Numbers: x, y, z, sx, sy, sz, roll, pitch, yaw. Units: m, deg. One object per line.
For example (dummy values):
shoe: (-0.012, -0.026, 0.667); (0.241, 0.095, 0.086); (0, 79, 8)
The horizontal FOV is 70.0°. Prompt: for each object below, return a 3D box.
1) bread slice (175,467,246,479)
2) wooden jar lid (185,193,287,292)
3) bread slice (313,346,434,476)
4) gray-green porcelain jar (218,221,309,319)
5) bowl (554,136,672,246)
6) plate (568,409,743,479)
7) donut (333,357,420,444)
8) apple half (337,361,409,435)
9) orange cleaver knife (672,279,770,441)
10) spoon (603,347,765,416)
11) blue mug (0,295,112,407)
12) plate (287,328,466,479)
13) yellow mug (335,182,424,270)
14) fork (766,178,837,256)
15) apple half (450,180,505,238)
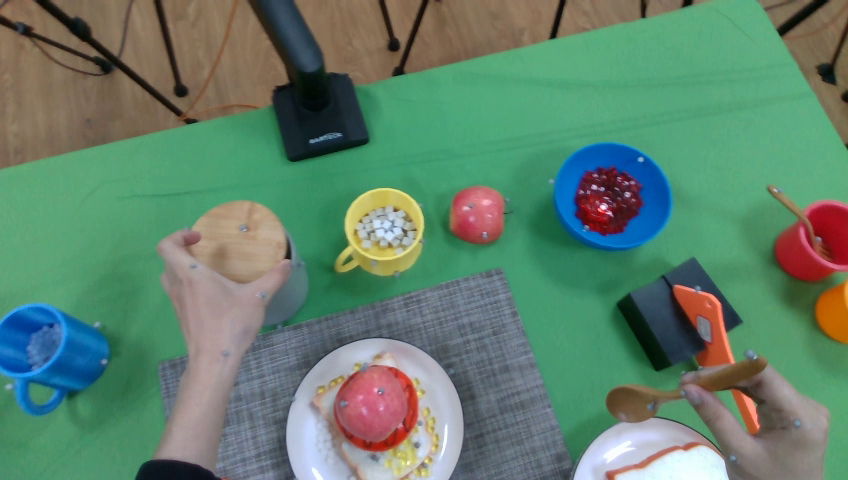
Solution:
bread slice: (-0.246, 0.325, 0.679); (0.105, 0.019, 0.130); (-8, 72, -6)
wooden jar lid: (-0.196, 0.004, 0.641); (0.108, 0.021, 0.107); (-1, 73, 5)
bread slice: (-0.051, 0.207, 0.719); (0.107, 0.018, 0.133); (-32, 74, -12)
gray-green porcelain jar: (-0.197, 0.035, 0.732); (0.106, 0.127, 0.105); (1, 69, -2)
bowl: (0.241, -0.054, 0.808); (0.151, 0.077, 0.150); (1, 70, -2)
plate: (0.266, 0.304, 0.700); (0.209, 0.038, 0.207); (1, 70, -2)
donut: (-0.054, 0.184, 0.697); (0.099, 0.048, 0.098); (1, 70, -2)
apple half: (-0.056, 0.172, 0.662); (0.081, 0.033, 0.080); (-1, 70, 4)
orange cleaver knife: (0.360, 0.144, 0.739); (0.012, 0.077, 0.211); (-25, 94, -18)
spoon: (0.199, 0.115, 0.480); (0.041, 0.194, 0.021); (40, 66, 5)
blue mug: (-0.428, 0.132, 0.697); (0.082, 0.106, 0.116); (5, 70, -1)
plate: (-0.055, 0.210, 0.717); (0.208, 0.039, 0.206); (1, 70, -2)
yellow mug: (-0.062, -0.008, 0.785); (0.131, 0.064, 0.099); (-38, 75, -14)
fork: (0.483, -0.028, 0.771); (0.209, 0.018, 0.028); (31, 64, -35)
apple half: (0.072, -0.047, 0.813); (0.074, 0.053, 0.080); (6, 70, 2)
